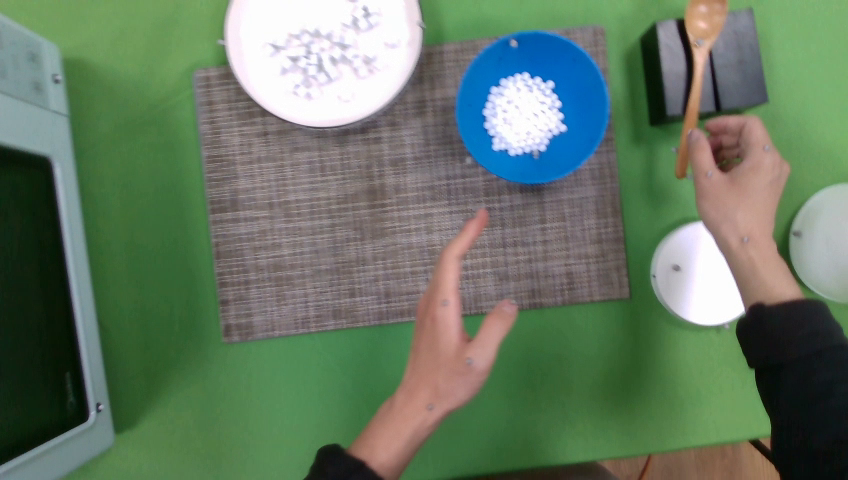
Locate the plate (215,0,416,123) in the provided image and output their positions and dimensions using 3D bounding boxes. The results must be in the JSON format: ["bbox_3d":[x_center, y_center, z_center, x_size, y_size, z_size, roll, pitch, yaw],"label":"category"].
[{"bbox_3d":[-0.112,-0.224,0.643,0.209,0.038,0.209,0,88,0],"label":"plate"}]

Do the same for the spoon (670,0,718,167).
[{"bbox_3d":[0.267,-0.172,0.611,0.042,0.021,0.194,5,96,-4],"label":"spoon"}]

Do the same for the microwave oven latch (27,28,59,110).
[{"bbox_3d":[-0.404,-0.175,0.627,0.030,0.029,0.079,-9,92,-1],"label":"microwave oven latch"}]

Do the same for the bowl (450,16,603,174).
[{"bbox_3d":[0.100,-0.140,0.624,0.151,0.077,0.151,0,91,0],"label":"bowl"}]

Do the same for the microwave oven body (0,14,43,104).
[{"bbox_3d":[-0.523,0.024,0.535,0.326,0.260,0.441,-9,92,-1],"label":"microwave oven body"}]

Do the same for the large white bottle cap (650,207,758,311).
[{"bbox_3d":[0.306,0.021,0.663,0.115,0.018,0.115,0,91,-1],"label":"large white bottle cap"}]

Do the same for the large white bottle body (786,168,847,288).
[{"bbox_3d":[0.459,-0.013,0.579,0.130,0.184,0.130,0,90,0],"label":"large white bottle body"}]

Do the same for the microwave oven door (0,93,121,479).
[{"bbox_3d":[-0.372,0.042,0.531,0.039,0.243,0.355,-10,91,0],"label":"microwave oven door"}]
